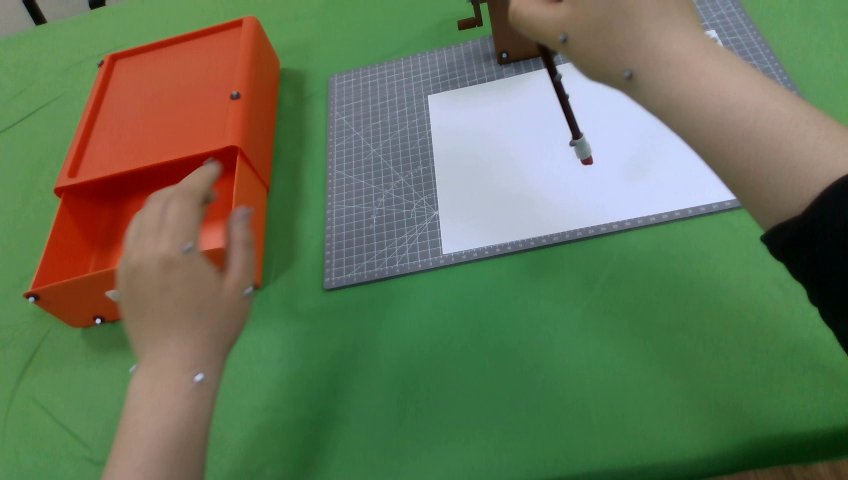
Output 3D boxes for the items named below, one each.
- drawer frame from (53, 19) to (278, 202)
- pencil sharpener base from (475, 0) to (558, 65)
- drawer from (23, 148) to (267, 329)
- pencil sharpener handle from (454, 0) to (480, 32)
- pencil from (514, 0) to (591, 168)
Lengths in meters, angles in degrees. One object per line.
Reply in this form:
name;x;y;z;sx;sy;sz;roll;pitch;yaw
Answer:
drawer frame;-0.271;-0.127;0.667;0.201;0.083;0.211;-13;53;8
pencil sharpener base;0.093;-0.244;0.625;0.076;0.108;0.061;-10;54;10
drawer;-0.259;-0.032;0.599;0.194;0.074;0.209;-13;53;8
pencil sharpener handle;0.041;-0.244;0.624;0.030;0.068;0.035;-10;59;10
pencil;0.081;-0.116;0.402;0.012;0.196;0.012;-18;46;20
